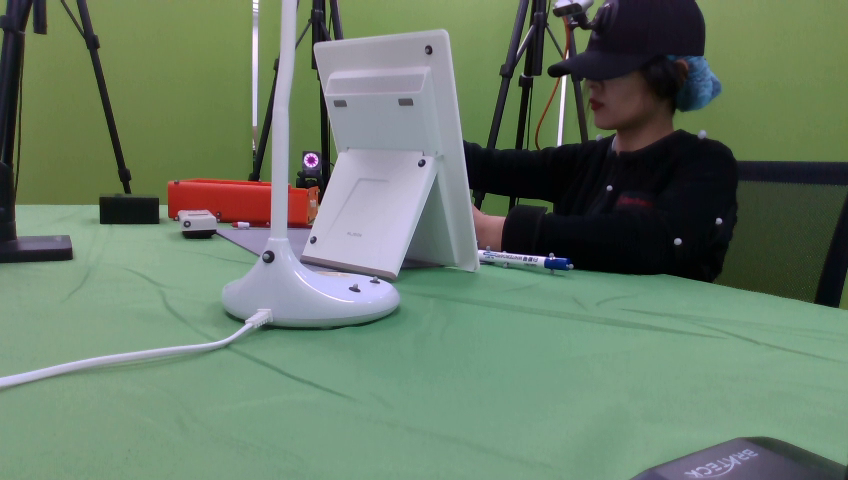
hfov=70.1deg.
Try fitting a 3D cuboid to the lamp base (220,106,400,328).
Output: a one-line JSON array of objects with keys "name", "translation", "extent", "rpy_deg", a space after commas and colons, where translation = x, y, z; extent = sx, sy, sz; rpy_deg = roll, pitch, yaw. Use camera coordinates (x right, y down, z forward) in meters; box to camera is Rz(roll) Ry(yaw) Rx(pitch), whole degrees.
[{"name": "lamp base", "translation": [-0.101, -0.023, 0.531], "extent": [0.160, 0.180, 0.179], "rpy_deg": [4, 10, 10]}]

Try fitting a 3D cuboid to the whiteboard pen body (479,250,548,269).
[{"name": "whiteboard pen body", "translation": [0.130, 0.028, 0.827], "extent": [0.140, 0.017, 0.017], "rpy_deg": [6, 8, 38]}]

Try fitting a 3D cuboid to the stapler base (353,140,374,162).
[{"name": "stapler base", "translation": [-0.103, -0.162, 1.076], "extent": [0.024, 0.041, 0.130], "rpy_deg": [-41, 8, -2]}]

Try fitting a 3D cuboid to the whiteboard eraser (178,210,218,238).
[{"name": "whiteboard eraser", "translation": [-0.380, -0.027, 1.014], "extent": [0.056, 0.042, 0.112], "rpy_deg": [0, 8, -25]}]

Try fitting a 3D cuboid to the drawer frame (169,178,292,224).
[{"name": "drawer frame", "translation": [-0.406, -0.087, 1.304], "extent": [0.214, 0.082, 0.201], "rpy_deg": [1, 8, -5]}]

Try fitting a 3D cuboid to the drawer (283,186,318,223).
[{"name": "drawer", "translation": [-0.342, -0.083, 1.309], "extent": [0.212, 0.073, 0.194], "rpy_deg": [2, 8, -4]}]

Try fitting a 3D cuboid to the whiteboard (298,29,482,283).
[{"name": "whiteboard", "translation": [-0.075, -0.082, 0.741], "extent": [0.216, 0.305, 0.144], "rpy_deg": [9, 29, 37]}]

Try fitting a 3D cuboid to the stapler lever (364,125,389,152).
[{"name": "stapler lever", "translation": [-0.086, -0.179, 1.078], "extent": [0.040, 0.027, 0.118], "rpy_deg": [-41, 8, -2]}]

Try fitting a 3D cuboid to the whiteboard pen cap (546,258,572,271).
[{"name": "whiteboard pen cap", "translation": [0.175, 0.032, 0.790], "extent": [0.033, 0.018, 0.018], "rpy_deg": [3, 6, 37]}]

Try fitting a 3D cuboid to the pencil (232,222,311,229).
[{"name": "pencil", "translation": [-0.261, -0.025, 1.140], "extent": [0.195, 0.012, 0.012], "rpy_deg": [2, 7, -26]}]
